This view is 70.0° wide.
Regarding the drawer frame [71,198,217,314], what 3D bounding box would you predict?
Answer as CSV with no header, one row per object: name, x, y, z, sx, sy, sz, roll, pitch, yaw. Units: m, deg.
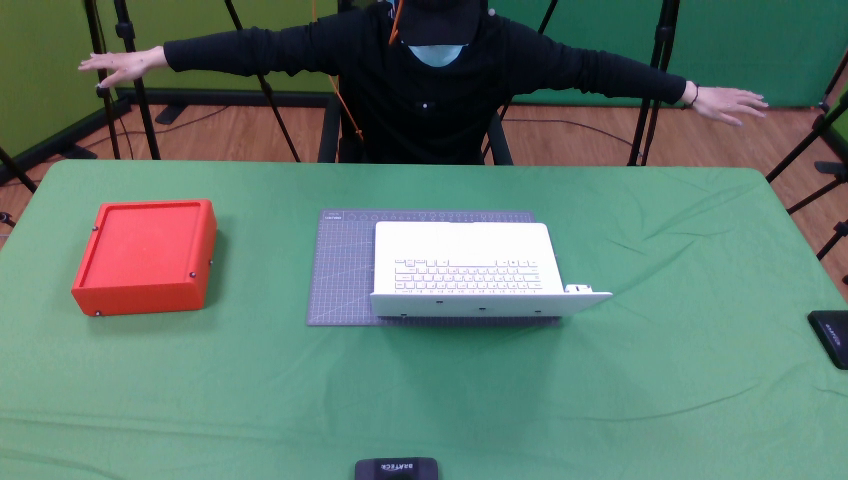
drawer frame,-0.493,0.023,1.096,0.202,0.083,0.212,-3,47,-8

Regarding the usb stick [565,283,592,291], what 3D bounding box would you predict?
usb stick,0.276,0.095,1.113,0.059,0.027,0.021,-1,47,-6

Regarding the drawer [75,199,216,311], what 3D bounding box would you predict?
drawer,-0.494,0.023,1.098,0.195,0.073,0.210,-2,47,-8

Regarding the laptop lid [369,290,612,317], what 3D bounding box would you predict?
laptop lid,0.091,0.104,0.965,0.357,0.242,0.013,1,75,-5

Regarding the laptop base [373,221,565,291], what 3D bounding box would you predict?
laptop base,0.080,0.049,1.158,0.355,0.023,0.234,0,43,-4
